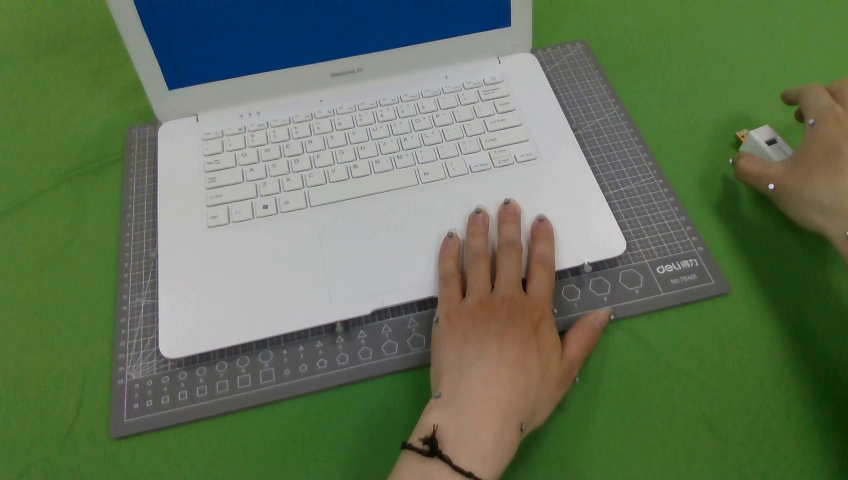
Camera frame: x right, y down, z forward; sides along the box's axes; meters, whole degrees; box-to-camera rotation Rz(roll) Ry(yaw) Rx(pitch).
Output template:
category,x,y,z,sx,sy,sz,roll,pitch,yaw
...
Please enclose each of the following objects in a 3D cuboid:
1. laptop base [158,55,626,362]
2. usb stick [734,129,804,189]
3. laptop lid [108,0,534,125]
category,x,y,z,sx,sy,sz,roll,pitch,yaw
laptop base,-0.040,-0.042,0.507,0.355,0.023,0.233,-12,61,-6
usb stick,0.286,-0.073,0.508,0.021,0.027,0.058,-22,53,-9
laptop lid,-0.080,-0.227,0.496,0.357,0.244,0.013,-13,39,-5
